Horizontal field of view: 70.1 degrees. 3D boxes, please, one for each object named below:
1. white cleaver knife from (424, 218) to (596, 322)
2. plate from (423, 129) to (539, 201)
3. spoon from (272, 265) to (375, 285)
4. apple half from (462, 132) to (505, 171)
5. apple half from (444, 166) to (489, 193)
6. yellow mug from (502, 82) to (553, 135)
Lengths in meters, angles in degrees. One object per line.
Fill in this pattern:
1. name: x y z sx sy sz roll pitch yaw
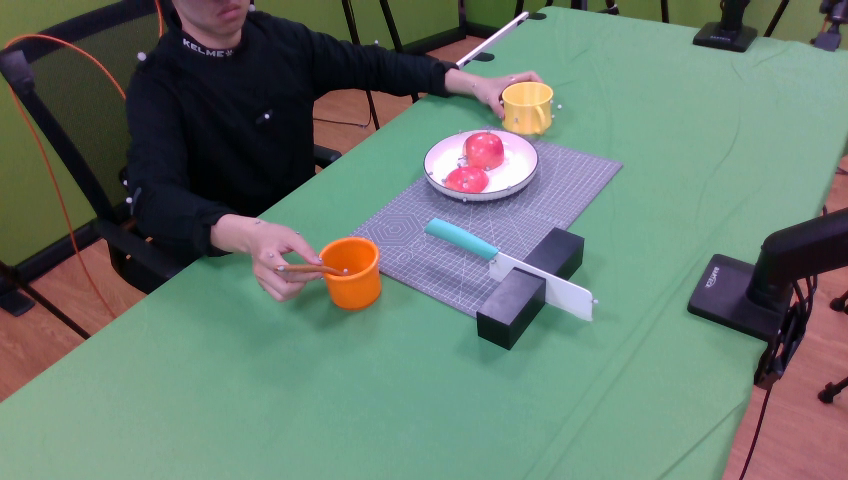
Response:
1. white cleaver knife: 0.114 0.042 0.865 0.284 0.066 0.021 27 47 28
2. plate: 0.103 -0.132 1.092 0.209 0.038 0.208 -4 40 4
3. spoon: -0.136 0.046 0.839 0.041 0.195 0.021 14 88 35
4. apple half: 0.109 -0.169 1.110 0.075 0.053 0.080 -6 40 -2
5. apple half: 0.074 -0.112 1.062 0.081 0.033 0.081 -6 39 5
6. yellow mug: 0.212 -0.256 1.203 0.100 0.064 0.130 -17 42 -9
